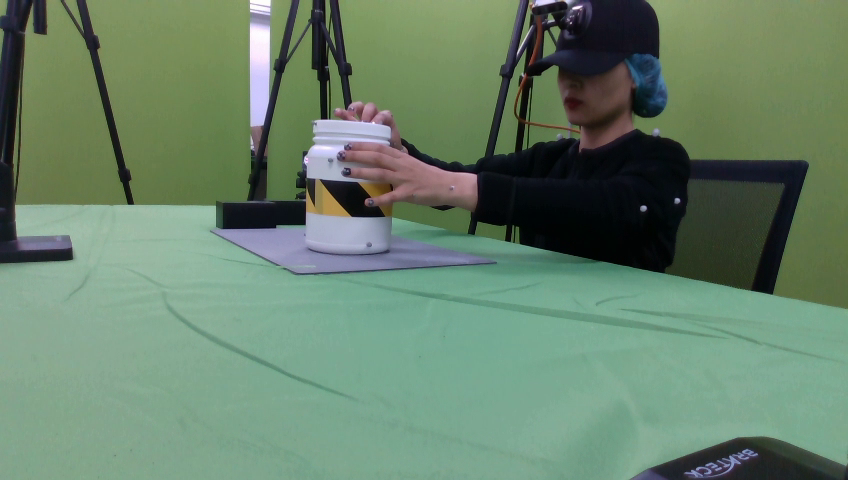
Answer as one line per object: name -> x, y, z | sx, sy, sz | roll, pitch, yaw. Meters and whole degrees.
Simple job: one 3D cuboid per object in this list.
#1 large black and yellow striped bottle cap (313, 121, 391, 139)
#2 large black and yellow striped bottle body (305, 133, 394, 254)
large black and yellow striped bottle cap -> -0.106, -0.163, 0.899 | 0.115, 0.019, 0.115 | 2, 6, 0
large black and yellow striped bottle body -> -0.112, -0.077, 0.911 | 0.131, 0.184, 0.130 | 3, 7, 0
